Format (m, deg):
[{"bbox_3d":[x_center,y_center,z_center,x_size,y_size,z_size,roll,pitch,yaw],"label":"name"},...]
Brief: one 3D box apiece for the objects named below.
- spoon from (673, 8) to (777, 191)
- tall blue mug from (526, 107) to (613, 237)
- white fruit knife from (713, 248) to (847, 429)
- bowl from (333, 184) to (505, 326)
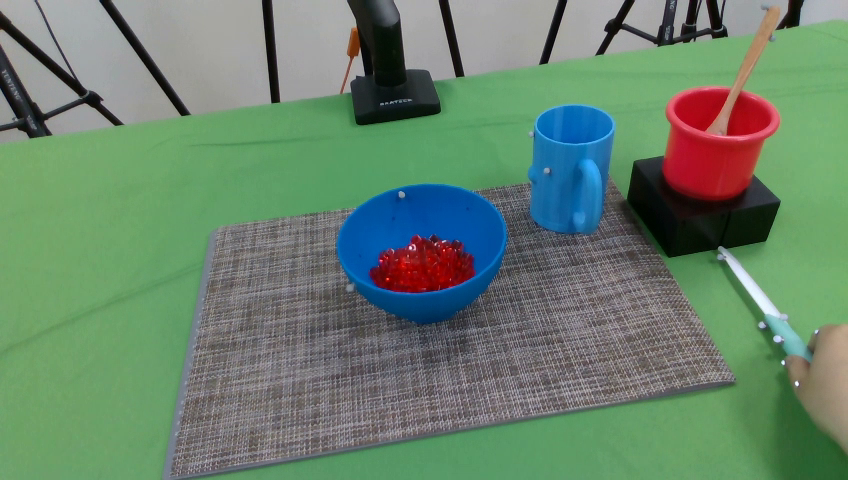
[{"bbox_3d":[0.294,-0.135,0.580,0.041,0.022,0.194,27,95,34],"label":"spoon"},{"bbox_3d":[0.156,-0.062,0.610,0.078,0.109,0.106,-28,45,-24],"label":"tall blue mug"},{"bbox_3d":[0.302,0.073,0.519,0.027,0.016,0.205,12,35,-20],"label":"white fruit knife"},{"bbox_3d":[-0.001,0.025,0.553,0.151,0.077,0.150,-3,41,3],"label":"bowl"}]
